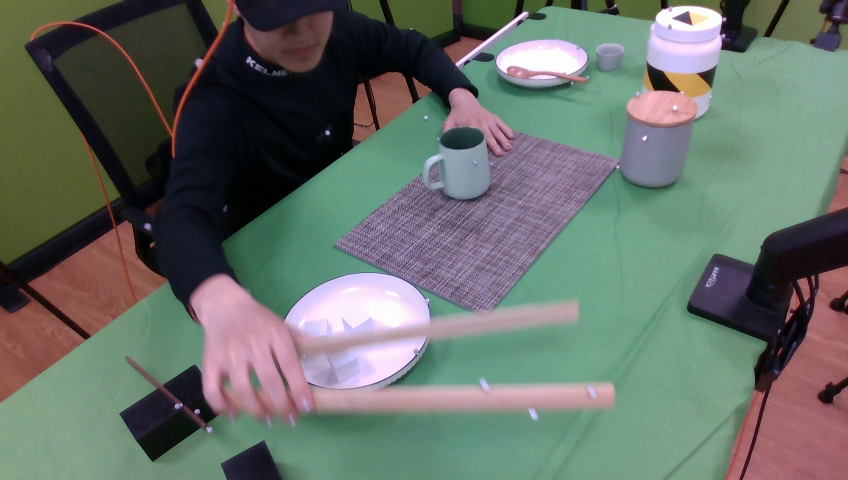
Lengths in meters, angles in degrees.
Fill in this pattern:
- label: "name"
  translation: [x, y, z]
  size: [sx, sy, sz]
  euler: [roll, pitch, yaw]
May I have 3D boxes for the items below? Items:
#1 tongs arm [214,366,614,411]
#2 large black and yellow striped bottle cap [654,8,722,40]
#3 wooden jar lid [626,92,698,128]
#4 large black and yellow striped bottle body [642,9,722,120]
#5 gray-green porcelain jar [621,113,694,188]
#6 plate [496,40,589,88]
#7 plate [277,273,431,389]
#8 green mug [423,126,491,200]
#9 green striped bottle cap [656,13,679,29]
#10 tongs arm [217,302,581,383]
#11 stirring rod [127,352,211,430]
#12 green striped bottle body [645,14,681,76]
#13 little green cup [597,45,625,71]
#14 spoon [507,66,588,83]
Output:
- label: "tongs arm"
  translation: [-0.019, 0.140, 0.582]
  size: [0.385, 0.026, 0.050]
  euler: [-3, 31, 4]
- label: "large black and yellow striped bottle cap"
  translation: [0.483, -0.397, 1.108]
  size: [0.115, 0.019, 0.114]
  euler: [-3, 41, 3]
- label: "wooden jar lid"
  translation: [0.384, -0.207, 0.980]
  size: [0.108, 0.021, 0.108]
  euler: [-6, 39, 5]
- label: "large black and yellow striped bottle body"
  translation: [0.493, -0.334, 1.161]
  size: [0.131, 0.185, 0.130]
  euler: [-4, 41, 4]
- label: "gray-green porcelain jar"
  translation: [0.390, -0.161, 1.020]
  size: [0.106, 0.127, 0.105]
  euler: [-4, 41, 4]
- label: "plate"
  translation: [0.268, -0.398, 1.381]
  size: [0.209, 0.038, 0.208]
  euler: [-4, 41, 4]
- label: "plate"
  translation: [-0.091, 0.129, 0.821]
  size: [0.207, 0.039, 0.206]
  euler: [-4, 41, 4]
- label: "green mug"
  translation: [0.055, -0.126, 1.039]
  size: [0.126, 0.105, 0.091]
  euler: [-25, 44, -18]
- label: "green striped bottle cap"
  translation: [0.515, -0.463, 1.278]
  size: [0.044, 0.020, 0.044]
  euler: [-6, 42, 5]
- label: "tongs arm"
  translation: [-0.019, 0.105, 0.645]
  size: [0.388, 0.028, 0.028]
  euler: [-8, 35, -5]
- label: "stirring rod"
  translation: [-0.311, 0.180, 0.731]
  size: [0.175, 0.014, 0.006]
  euler: [26, 54, 31]
- label: "green striped bottle body"
  translation: [0.520, -0.424, 1.312]
  size: [0.063, 0.120, 0.063]
  euler: [-4, 40, 4]
- label: "little green cup"
  translation: [0.422, -0.413, 1.375]
  size: [0.061, 0.039, 0.061]
  euler: [-3, 41, 3]
- label: "spoon"
  translation: [0.265, -0.357, 1.311]
  size: [0.192, 0.022, 0.042]
  euler: [18, 47, 38]
